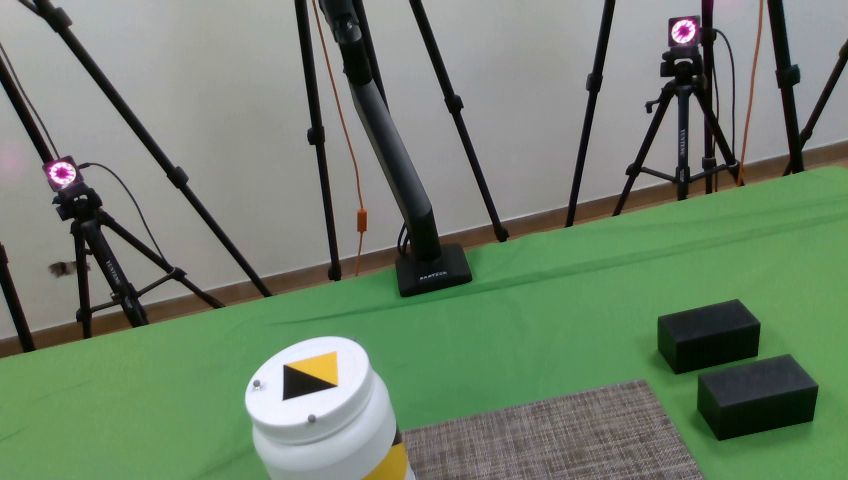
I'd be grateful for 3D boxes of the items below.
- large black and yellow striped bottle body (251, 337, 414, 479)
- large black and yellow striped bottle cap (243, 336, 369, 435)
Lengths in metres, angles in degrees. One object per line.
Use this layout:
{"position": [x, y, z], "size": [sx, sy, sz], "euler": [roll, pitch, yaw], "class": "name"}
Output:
{"position": [-0.089, 0.199, 0.595], "size": [0.130, 0.185, 0.129], "euler": [-10, 30, 6], "class": "large black and yellow striped bottle body"}
{"position": [-0.107, 0.129, 0.553], "size": [0.115, 0.019, 0.114], "euler": [-9, 29, 5], "class": "large black and yellow striped bottle cap"}
